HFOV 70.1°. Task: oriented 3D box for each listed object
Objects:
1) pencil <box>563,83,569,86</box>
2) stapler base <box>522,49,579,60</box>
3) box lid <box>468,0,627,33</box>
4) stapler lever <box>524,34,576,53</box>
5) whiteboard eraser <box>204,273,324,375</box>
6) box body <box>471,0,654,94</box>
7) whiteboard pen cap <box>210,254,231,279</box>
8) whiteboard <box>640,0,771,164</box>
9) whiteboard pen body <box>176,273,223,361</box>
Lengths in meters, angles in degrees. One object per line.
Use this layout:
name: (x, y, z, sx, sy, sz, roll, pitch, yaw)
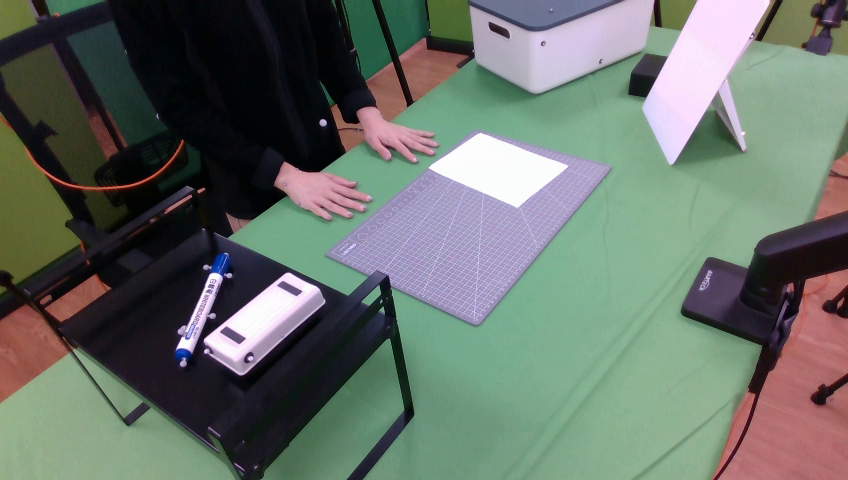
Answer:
pencil: (0.248, -0.393, 1.398, 0.193, 0.012, 0.012, 30, 52, 24)
stapler base: (0.300, -0.442, 1.433, 0.130, 0.024, 0.041, 3, 21, 18)
box lid: (0.312, -0.554, 1.358, 0.373, 0.015, 0.261, -26, 44, -20)
stapler lever: (0.297, -0.463, 1.424, 0.117, 0.040, 0.027, 5, 22, 17)
whiteboard eraser: (-0.157, 0.084, 0.605, 0.055, 0.042, 0.113, 24, 49, 30)
box body: (0.319, -0.498, 1.405, 0.365, 0.161, 0.252, -26, 43, -21)
whiteboard pen cap: (-0.234, 0.032, 0.695, 0.018, 0.018, 0.033, -4, 40, 4)
whiteboard: (0.543, -0.299, 1.076, 0.144, 0.305, 0.216, 12, 40, -7)
whiteboard pen body: (-0.237, 0.072, 0.652, 0.017, 0.017, 0.140, -3, 40, 5)
